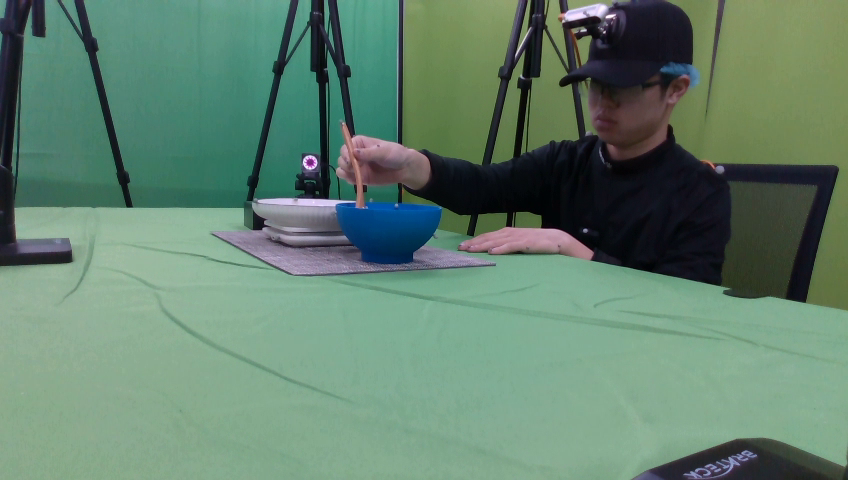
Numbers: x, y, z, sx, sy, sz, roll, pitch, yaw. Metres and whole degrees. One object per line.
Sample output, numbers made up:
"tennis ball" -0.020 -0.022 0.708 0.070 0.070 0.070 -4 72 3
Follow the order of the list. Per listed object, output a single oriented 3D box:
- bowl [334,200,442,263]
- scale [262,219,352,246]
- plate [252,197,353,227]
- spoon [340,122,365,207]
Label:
"bowl" -0.051 -0.012 0.849 0.151 0.077 0.151 2 8 0
"scale" -0.160 -0.015 1.028 0.202 0.031 0.148 -2 8 -32
"plate" -0.179 -0.047 1.012 0.209 0.038 0.209 2 6 0
"spoon" -0.097 -0.084 0.874 0.021 0.193 0.042 -16 -15 21
